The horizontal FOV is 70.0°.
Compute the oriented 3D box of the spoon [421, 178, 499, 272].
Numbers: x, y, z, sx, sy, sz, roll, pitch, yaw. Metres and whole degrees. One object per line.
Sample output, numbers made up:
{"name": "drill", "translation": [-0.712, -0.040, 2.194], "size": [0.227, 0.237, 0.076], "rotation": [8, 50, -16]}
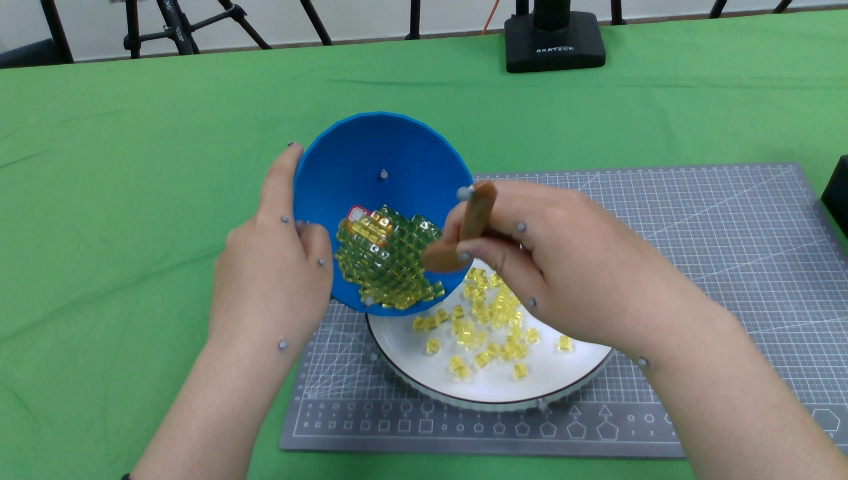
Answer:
{"name": "spoon", "translation": [0.024, -0.002, 0.354], "size": [0.042, 0.194, 0.021], "rotation": [-7, 81, -5]}

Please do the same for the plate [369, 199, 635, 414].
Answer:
{"name": "plate", "translation": [0.060, 0.049, 0.490], "size": [0.207, 0.039, 0.205], "rotation": [-4, 46, 5]}

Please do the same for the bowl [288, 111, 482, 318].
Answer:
{"name": "bowl", "translation": [-0.038, -0.015, 0.468], "size": [0.151, 0.152, 0.076], "rotation": [-38, 12, -25]}
